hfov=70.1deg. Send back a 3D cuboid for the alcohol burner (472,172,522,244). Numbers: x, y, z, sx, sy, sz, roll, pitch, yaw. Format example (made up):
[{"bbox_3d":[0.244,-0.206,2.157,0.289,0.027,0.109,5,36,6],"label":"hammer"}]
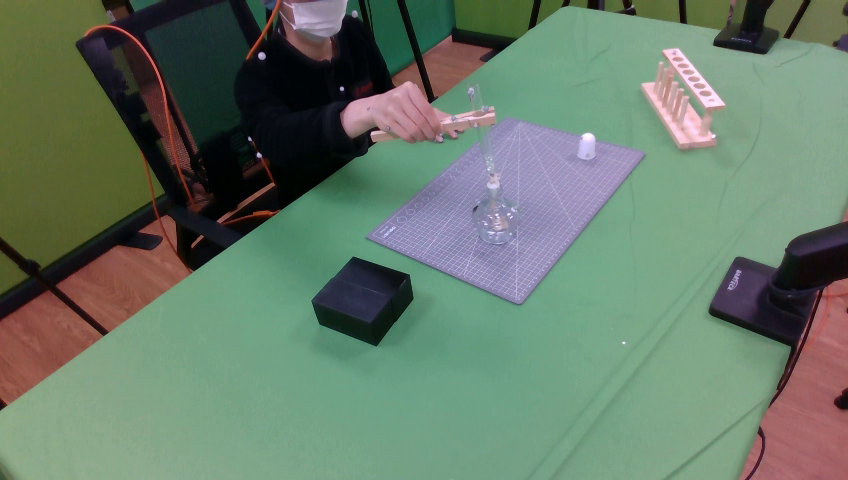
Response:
[{"bbox_3d":[0.112,-0.053,0.942,0.078,0.119,0.077,-6,40,5],"label":"alcohol burner"}]

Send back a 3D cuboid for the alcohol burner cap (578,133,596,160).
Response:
[{"bbox_3d":[0.301,-0.174,1.111,0.034,0.048,0.033,-5,40,4],"label":"alcohol burner cap"}]

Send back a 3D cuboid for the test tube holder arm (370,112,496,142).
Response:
[{"bbox_3d":[0.011,-0.157,0.839,0.178,0.015,0.013,-7,42,12],"label":"test tube holder arm"}]

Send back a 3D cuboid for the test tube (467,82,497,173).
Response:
[{"bbox_3d":[0.083,-0.153,0.843,0.017,0.151,0.017,-11,43,11],"label":"test tube"}]

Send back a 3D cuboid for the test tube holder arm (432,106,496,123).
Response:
[{"bbox_3d":[0.055,-0.168,0.835,0.088,0.015,0.010,-13,42,6],"label":"test tube holder arm"}]

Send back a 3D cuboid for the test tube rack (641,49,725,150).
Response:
[{"bbox_3d":[0.495,-0.279,1.175,0.067,0.085,0.241,-5,41,3],"label":"test tube rack"}]
